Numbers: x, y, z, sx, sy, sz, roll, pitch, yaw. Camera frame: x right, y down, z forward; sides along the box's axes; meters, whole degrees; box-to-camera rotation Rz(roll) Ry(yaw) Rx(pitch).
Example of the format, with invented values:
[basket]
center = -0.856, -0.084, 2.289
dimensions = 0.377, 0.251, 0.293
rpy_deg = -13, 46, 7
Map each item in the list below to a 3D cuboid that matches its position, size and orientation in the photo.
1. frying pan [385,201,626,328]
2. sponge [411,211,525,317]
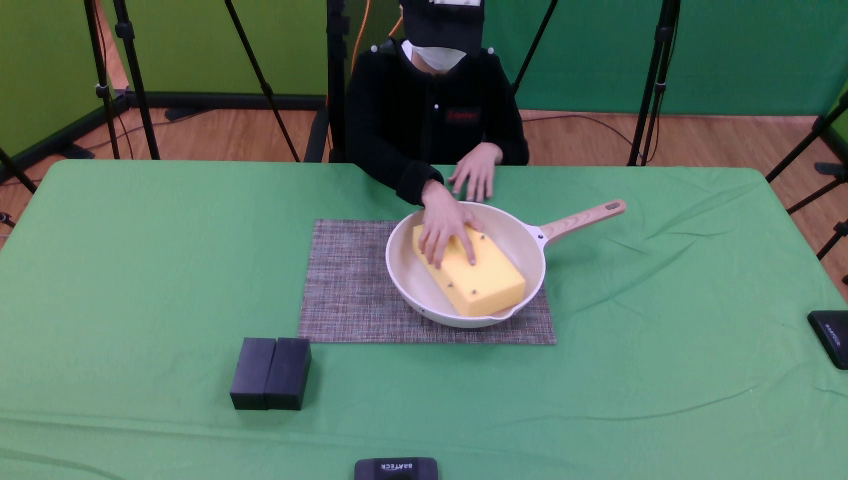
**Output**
[frying pan]
center = 0.169, 0.014, 1.137
dimensions = 0.488, 0.103, 0.304
rpy_deg = -19, 51, -11
[sponge]
center = 0.075, 0.045, 1.113
dimensions = 0.118, 0.061, 0.205
rpy_deg = -20, 49, -22
